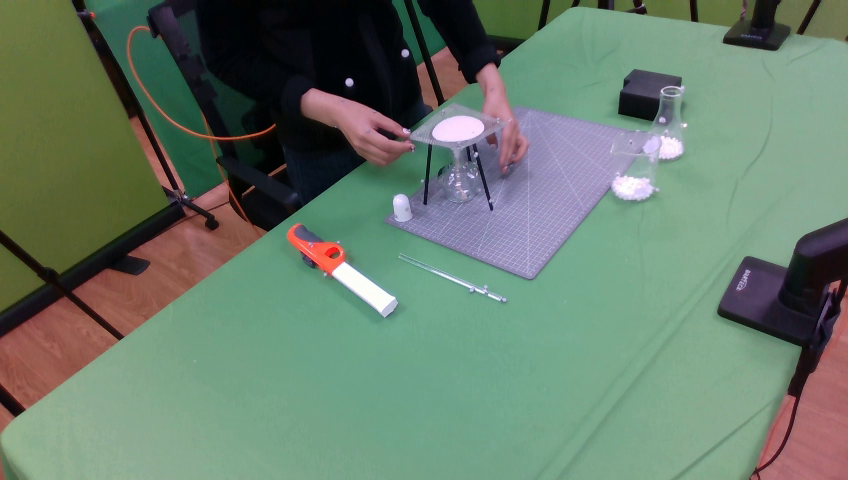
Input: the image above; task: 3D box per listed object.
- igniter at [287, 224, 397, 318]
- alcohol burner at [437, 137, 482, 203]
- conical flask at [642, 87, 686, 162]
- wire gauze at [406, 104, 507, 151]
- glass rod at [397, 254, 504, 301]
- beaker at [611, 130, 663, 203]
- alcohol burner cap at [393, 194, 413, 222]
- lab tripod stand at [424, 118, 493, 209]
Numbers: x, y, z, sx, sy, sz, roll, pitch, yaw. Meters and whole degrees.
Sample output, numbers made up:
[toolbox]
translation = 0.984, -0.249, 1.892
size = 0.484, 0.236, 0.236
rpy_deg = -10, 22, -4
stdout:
[igniter]
translation = -0.139, 0.042, 0.958
size = 0.057, 0.025, 0.274
rpy_deg = -42, 49, -19
[alcohol burner]
translation = 0.060, -0.125, 1.045
size = 0.078, 0.119, 0.077
rpy_deg = -5, 39, 4
[conical flask]
translation = 0.429, -0.206, 1.067
size = 0.075, 0.122, 0.075
rpy_deg = -6, 40, 6
[wire gauze]
translation = 0.053, -0.184, 0.996
size = 0.120, 0.011, 0.125
rpy_deg = 26, 50, 37
[glass rod]
translation = 0.036, 0.054, 0.922
size = 0.198, 0.008, 0.008
rpy_deg = 22, 50, 31
[beaker]
translation = 0.346, -0.118, 0.998
size = 0.084, 0.101, 0.073
rpy_deg = -17, 40, -7
[alcohol burner cap]
translation = -0.039, -0.057, 1.038
size = 0.034, 0.048, 0.033
rpy_deg = -5, 40, 5
[lab tripod stand]
translation = 0.061, -0.133, 1.039
size = 0.148, 0.132, 0.147
rpy_deg = -6, 38, 6
